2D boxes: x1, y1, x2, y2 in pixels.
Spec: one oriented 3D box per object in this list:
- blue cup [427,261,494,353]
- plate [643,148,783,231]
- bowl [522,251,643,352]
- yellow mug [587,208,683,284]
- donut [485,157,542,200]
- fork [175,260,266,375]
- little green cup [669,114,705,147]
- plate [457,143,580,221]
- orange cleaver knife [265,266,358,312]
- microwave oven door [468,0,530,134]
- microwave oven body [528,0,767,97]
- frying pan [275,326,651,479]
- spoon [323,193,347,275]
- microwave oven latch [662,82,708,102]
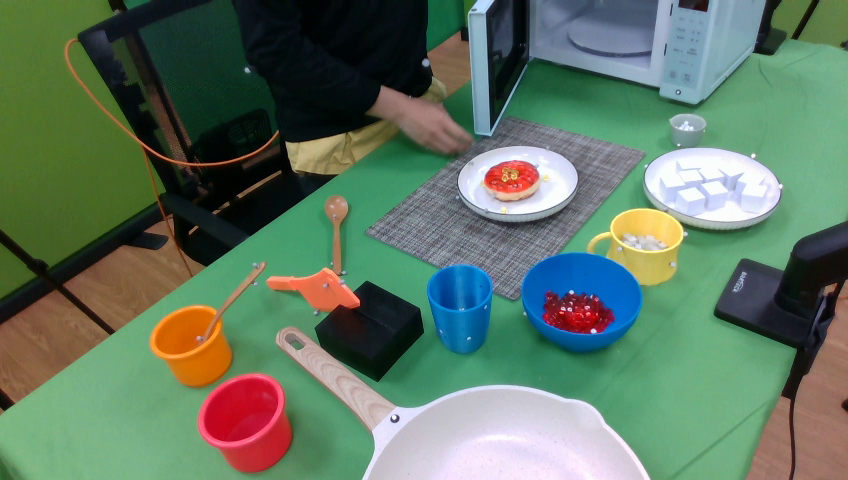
[{"bbox_3d":[0.050,0.095,0.792,0.092,0.100,0.092,-3,42,3],"label":"blue cup"},{"bbox_3d":[0.465,-0.080,0.986,0.207,0.039,0.206,-4,41,4],"label":"plate"},{"bbox_3d":[0.204,0.093,0.792,0.151,0.077,0.150,-4,40,4],"label":"bowl"},{"bbox_3d":[0.305,0.009,0.884,0.131,0.064,0.099,-4,40,5],"label":"yellow mug"},{"bbox_3d":[0.153,-0.108,1.039,0.099,0.048,0.098,-6,38,5],"label":"donut"},{"bbox_3d":[-0.268,0.102,0.792,0.207,0.019,0.028,-51,41,16],"label":"fork"},{"bbox_3d":[0.485,-0.203,1.123,0.061,0.039,0.061,-5,40,5],"label":"little green cup"},{"bbox_3d":[0.162,-0.097,1.042,0.209,0.038,0.208,-4,40,4],"label":"plate"},{"bbox_3d":[-0.164,0.073,0.864,0.210,0.077,0.012,-6,30,50],"label":"orange cleaver knife"},{"bbox_3d":[0.161,-0.413,1.231,0.039,0.245,0.355,9,43,18],"label":"microwave oven door"},{"bbox_3d":[0.473,-0.516,1.313,0.438,0.261,0.327,26,51,34],"label":"microwave oven body"},{"bbox_3d":[0.004,0.229,0.641,0.484,0.103,0.308,34,54,28],"label":"frying pan"},{"bbox_3d":[-0.148,-0.014,1.008,0.042,0.022,0.192,1,40,-9],"label":"spoon"},{"bbox_3d":[0.517,-0.298,1.202,0.078,0.029,0.030,27,52,34],"label":"microwave oven latch"}]
